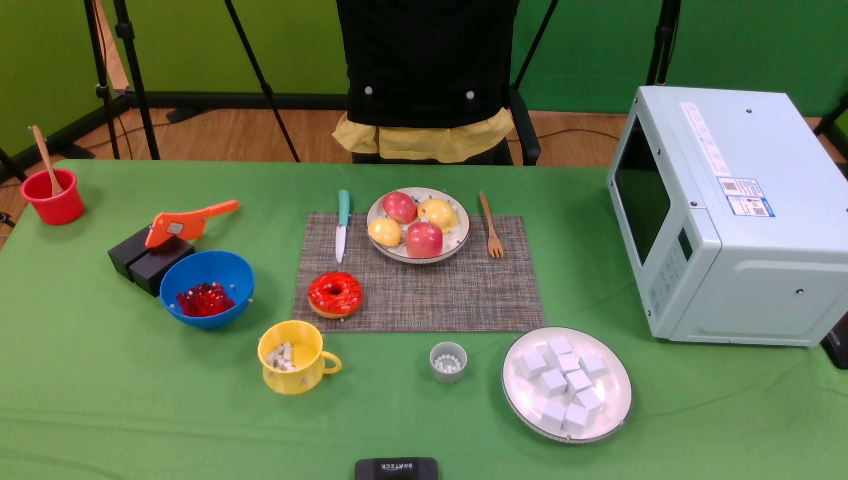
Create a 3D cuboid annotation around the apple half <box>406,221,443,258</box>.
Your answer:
[{"bbox_3d":[0.001,-0.006,1.164,0.075,0.053,0.080,5,42,-1],"label":"apple half"}]

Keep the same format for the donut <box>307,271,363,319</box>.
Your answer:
[{"bbox_3d":[-0.157,0.097,1.072,0.099,0.048,0.098,4,45,-4],"label":"donut"}]

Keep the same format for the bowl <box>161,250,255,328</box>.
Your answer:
[{"bbox_3d":[-0.362,0.097,1.040,0.151,0.077,0.150,2,45,-2],"label":"bowl"}]

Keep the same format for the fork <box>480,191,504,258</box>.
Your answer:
[{"bbox_3d":[0.136,-0.035,1.241,0.028,0.019,0.206,-8,46,1],"label":"fork"}]

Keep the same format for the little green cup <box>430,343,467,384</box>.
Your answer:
[{"bbox_3d":[0.039,0.203,0.994,0.061,0.039,0.061,2,46,-2],"label":"little green cup"}]

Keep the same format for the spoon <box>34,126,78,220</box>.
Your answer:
[{"bbox_3d":[-0.726,-0.132,1.187,0.041,0.021,0.194,-18,94,-19],"label":"spoon"}]

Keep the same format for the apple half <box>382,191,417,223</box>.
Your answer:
[{"bbox_3d":[-0.043,-0.072,1.225,0.081,0.033,0.081,19,41,-17],"label":"apple half"}]

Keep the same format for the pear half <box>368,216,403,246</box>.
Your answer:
[{"bbox_3d":[-0.070,-0.026,1.183,0.070,0.031,0.087,32,46,0],"label":"pear half"}]

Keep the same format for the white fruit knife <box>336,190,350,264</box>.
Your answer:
[{"bbox_3d":[-0.164,-0.030,1.217,0.027,0.016,0.206,-22,45,19],"label":"white fruit knife"}]

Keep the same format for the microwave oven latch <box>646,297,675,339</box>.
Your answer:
[{"bbox_3d":[0.412,0.134,1.061,0.030,0.029,0.078,4,45,1],"label":"microwave oven latch"}]

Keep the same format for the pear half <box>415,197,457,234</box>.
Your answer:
[{"bbox_3d":[0.016,-0.066,1.227,0.076,0.056,0.109,-27,52,-33],"label":"pear half"}]

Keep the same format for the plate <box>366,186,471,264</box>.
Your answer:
[{"bbox_3d":[-0.013,-0.027,1.207,0.209,0.038,0.208,2,46,-2],"label":"plate"}]

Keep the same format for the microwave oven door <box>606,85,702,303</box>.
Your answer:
[{"bbox_3d":[0.423,-0.094,1.140,0.039,0.245,0.353,2,46,-1],"label":"microwave oven door"}]

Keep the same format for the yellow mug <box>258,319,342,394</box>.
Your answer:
[{"bbox_3d":[-0.196,0.189,0.971,0.131,0.064,0.099,9,46,4],"label":"yellow mug"}]

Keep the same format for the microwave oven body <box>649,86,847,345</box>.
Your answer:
[{"bbox_3d":[0.567,-0.053,1.119,0.326,0.261,0.439,2,45,-1],"label":"microwave oven body"}]

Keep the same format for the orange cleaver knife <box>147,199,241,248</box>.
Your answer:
[{"bbox_3d":[-0.435,-0.033,1.157,0.012,0.077,0.211,31,27,19],"label":"orange cleaver knife"}]

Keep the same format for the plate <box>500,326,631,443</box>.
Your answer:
[{"bbox_3d":[0.224,0.233,0.978,0.208,0.039,0.206,2,46,-2],"label":"plate"}]
